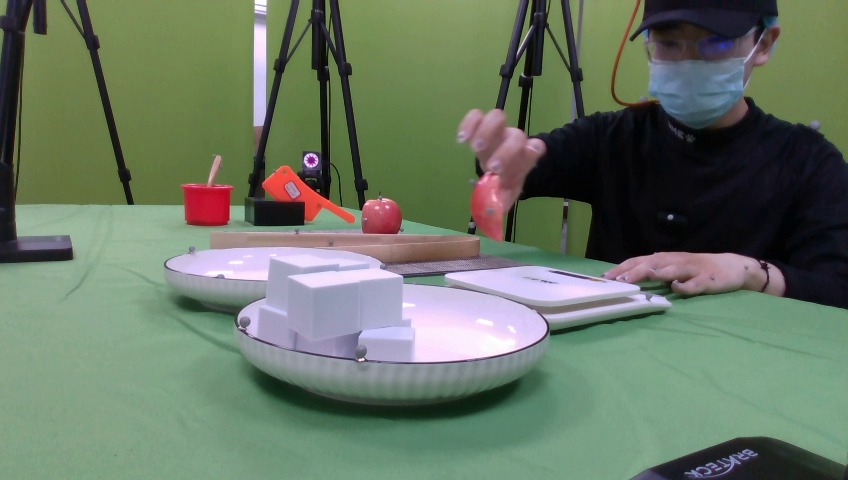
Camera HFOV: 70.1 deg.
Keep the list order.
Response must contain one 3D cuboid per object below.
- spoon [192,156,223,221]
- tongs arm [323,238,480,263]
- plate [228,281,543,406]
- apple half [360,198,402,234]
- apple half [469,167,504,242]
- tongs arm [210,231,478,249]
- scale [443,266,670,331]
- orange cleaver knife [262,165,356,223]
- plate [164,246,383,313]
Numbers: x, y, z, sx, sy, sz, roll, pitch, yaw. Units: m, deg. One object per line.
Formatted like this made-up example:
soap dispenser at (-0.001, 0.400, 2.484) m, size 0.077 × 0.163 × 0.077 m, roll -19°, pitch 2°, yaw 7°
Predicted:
spoon at (-0.430, -0.108, 1.222) m, size 0.041 × 0.021 × 0.193 m, roll -1°, pitch 52°, yaw 0°
tongs arm at (-0.070, 0.017, 0.800) m, size 0.390 × 0.028 × 0.028 m, roll -2°, pitch 5°, yaw -34°
plate at (-0.025, 0.067, 0.413) m, size 0.208 × 0.039 × 0.207 m, roll 3°, pitch 7°, yaw 0°
apple half at (-0.066, -0.032, 1.014) m, size 0.053 × 0.074 × 0.081 m, roll 9°, pitch 6°, yaw 21°
apple half at (0.063, -0.033, 0.629) m, size 0.033 × 0.081 × 0.081 m, roll -3°, pitch 7°, yaw 1°
tongs arm at (-0.106, 0.004, 0.876) m, size 0.386 × 0.026 × 0.050 m, roll 0°, pitch 7°, yaw -20°
scale at (0.131, 0.052, 0.602) m, size 0.202 × 0.031 × 0.148 m, roll -2°, pitch 9°, yaw -37°
orange cleaver knife at (-0.243, -0.081, 1.292) m, size 0.212 × 0.077 × 0.012 m, roll 34°, pitch -8°, yaw -26°
plate at (-0.145, 0.038, 0.600) m, size 0.209 × 0.038 × 0.209 m, roll 2°, pitch 7°, yaw 0°
